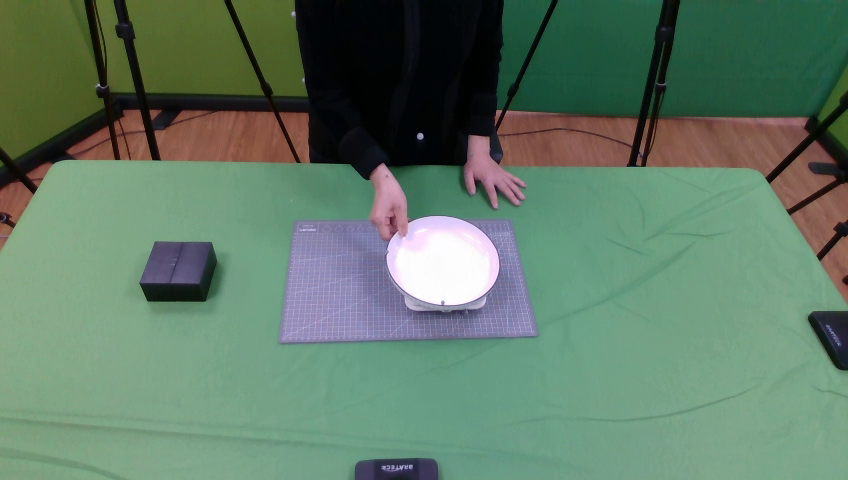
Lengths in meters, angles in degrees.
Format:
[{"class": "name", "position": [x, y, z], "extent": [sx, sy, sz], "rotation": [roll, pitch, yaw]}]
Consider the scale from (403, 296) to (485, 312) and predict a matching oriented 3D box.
[{"class": "scale", "position": [0.031, 0.051, 1.141], "extent": [0.149, 0.032, 0.199], "rotation": [-1, 46, -5]}]

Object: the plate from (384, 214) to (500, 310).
[{"class": "plate", "position": [0.031, 0.042, 1.093], "extent": [0.209, 0.038, 0.208], "rotation": [3, 51, -4]}]
